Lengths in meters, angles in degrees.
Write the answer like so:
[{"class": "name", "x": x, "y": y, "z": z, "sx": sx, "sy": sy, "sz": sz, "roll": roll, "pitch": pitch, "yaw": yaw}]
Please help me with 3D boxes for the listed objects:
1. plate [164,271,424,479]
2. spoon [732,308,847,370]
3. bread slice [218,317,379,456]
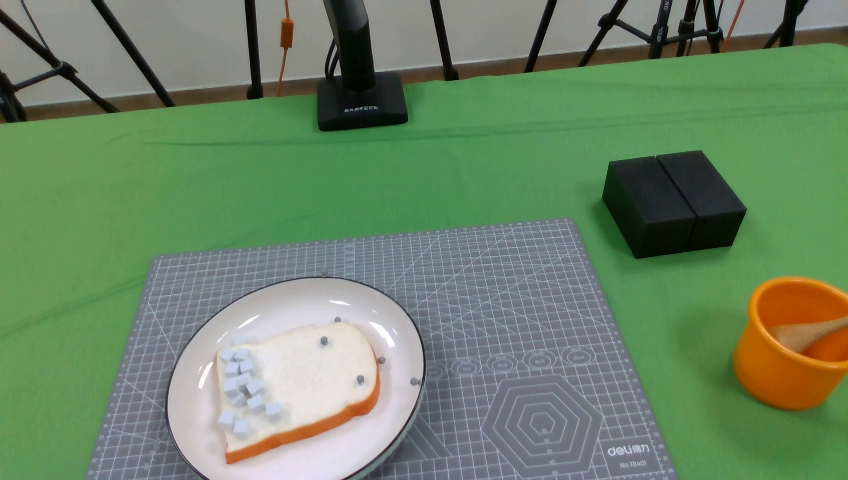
[{"class": "plate", "x": -0.103, "y": 0.113, "z": 0.502, "sx": 0.209, "sy": 0.038, "sz": 0.207, "roll": -1, "pitch": 45, "yaw": 1}, {"class": "spoon", "x": 0.329, "y": 0.052, "z": 0.462, "sx": 0.193, "sy": 0.022, "sz": 0.041, "roll": -32, "pitch": 34, "yaw": 29}, {"class": "bread slice", "x": -0.105, "y": 0.112, "z": 0.508, "sx": 0.132, "sy": 0.019, "sz": 0.103, "roll": -17, "pitch": 47, "yaw": -12}]
